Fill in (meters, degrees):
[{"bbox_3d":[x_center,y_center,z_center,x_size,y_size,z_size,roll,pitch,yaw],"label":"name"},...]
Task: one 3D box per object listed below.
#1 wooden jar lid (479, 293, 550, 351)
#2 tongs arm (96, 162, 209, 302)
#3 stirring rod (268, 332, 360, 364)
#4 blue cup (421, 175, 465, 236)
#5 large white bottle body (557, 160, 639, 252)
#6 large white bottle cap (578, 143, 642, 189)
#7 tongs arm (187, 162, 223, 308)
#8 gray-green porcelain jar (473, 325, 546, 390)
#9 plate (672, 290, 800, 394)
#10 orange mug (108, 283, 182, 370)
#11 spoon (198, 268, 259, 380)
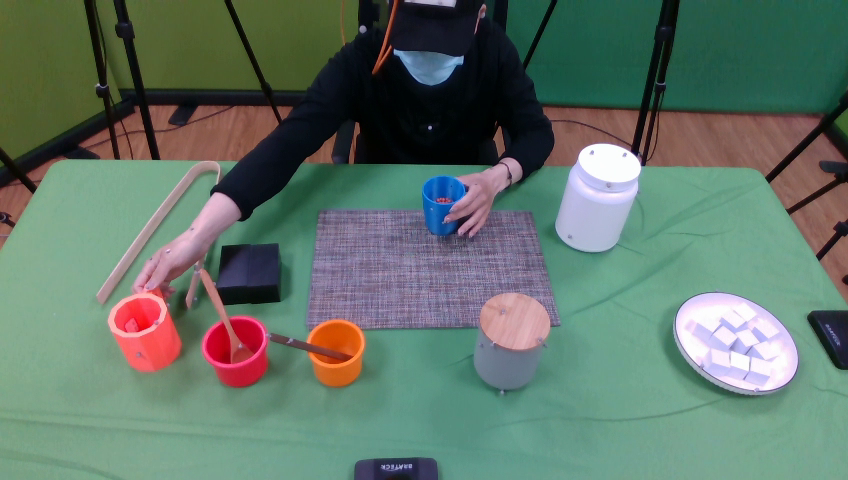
[{"bbox_3d":[0.137,0.127,0.925,0.108,0.021,0.107,1,47,-1],"label":"wooden jar lid"},{"bbox_3d":[-0.520,-0.030,1.180,0.028,0.028,0.385,6,44,11],"label":"tongs arm"},{"bbox_3d":[-0.167,0.169,0.942,0.177,0.006,0.014,26,27,-41],"label":"stirring rod"},{"bbox_3d":[0.037,-0.064,1.200,0.092,0.101,0.092,0,46,0],"label":"blue cup"},{"bbox_3d":[0.340,-0.081,1.185,0.131,0.185,0.130,2,46,-1],"label":"large white bottle body"},{"bbox_3d":[0.344,-0.139,1.123,0.115,0.018,0.114,2,46,-2],"label":"large white bottle cap"},{"bbox_3d":[-0.435,-0.025,1.180,0.051,0.026,0.382,-1,45,-2],"label":"tongs arm"},{"bbox_3d":[0.134,0.170,0.969,0.106,0.127,0.105,2,46,-2],"label":"gray-green porcelain jar"},{"bbox_3d":[0.533,0.179,1.050,0.208,0.039,0.206,2,46,-2],"label":"plate"},{"bbox_3d":[-0.446,0.133,0.982,0.083,0.101,0.125,-1,50,-5],"label":"orange mug"},{"bbox_3d":[-0.313,0.133,0.962,0.041,0.021,0.194,-24,95,-31],"label":"spoon"}]
